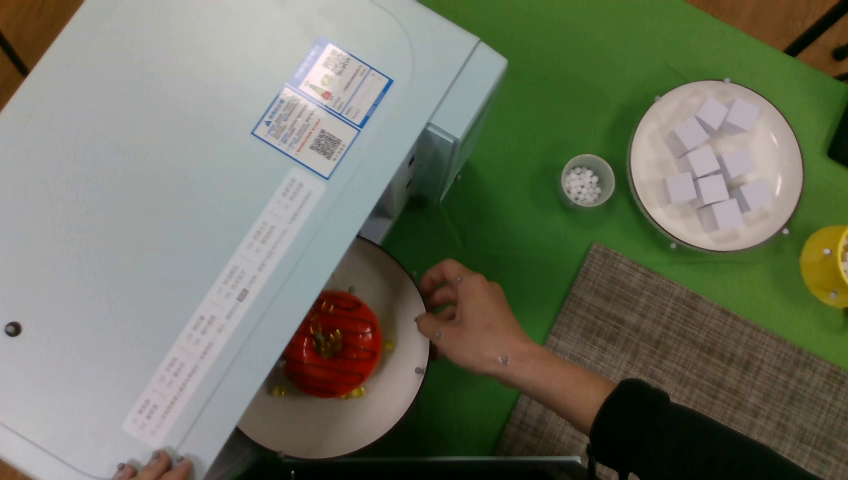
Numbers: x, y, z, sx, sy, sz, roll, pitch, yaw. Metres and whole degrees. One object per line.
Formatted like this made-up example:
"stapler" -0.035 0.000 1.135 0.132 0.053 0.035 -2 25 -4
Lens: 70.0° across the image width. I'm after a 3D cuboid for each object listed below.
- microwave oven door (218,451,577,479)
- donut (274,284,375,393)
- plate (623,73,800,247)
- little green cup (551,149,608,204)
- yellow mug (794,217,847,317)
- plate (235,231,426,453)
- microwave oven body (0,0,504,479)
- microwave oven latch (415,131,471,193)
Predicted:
"microwave oven door" -0.005 0.227 0.530 0.356 0.244 0.039 1 81 -3
"donut" -0.093 0.089 0.555 0.099 0.048 0.099 1 87 -11
"plate" 0.333 -0.092 0.714 0.208 0.039 0.207 1 82 -3
"little green cup" 0.178 -0.070 0.700 0.061 0.038 0.061 1 84 -4
"yellow mug" 0.495 0.036 0.694 0.100 0.064 0.130 -9 84 -5
"plate" -0.102 0.090 0.566 0.209 0.038 0.208 0 83 0
"microwave oven body" -0.191 -0.031 0.557 0.326 0.260 0.441 31 82 1
"microwave oven latch" 0.021 -0.093 0.676 0.030 0.029 0.079 35 83 1
